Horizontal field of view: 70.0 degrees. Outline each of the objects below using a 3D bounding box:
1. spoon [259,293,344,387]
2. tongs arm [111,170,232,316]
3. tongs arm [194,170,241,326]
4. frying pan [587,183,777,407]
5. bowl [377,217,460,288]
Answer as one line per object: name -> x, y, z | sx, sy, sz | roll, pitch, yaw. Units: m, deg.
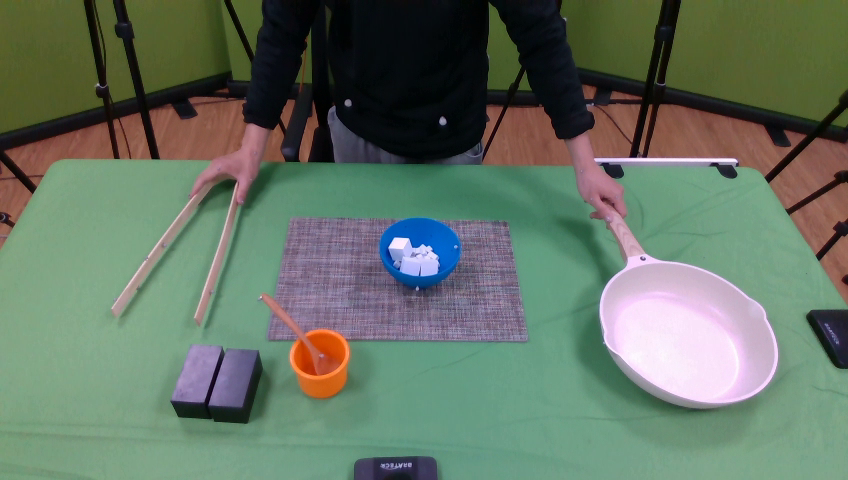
spoon -> -0.191, 0.155, 0.947 | 0.021, 0.194, 0.041 | -12, 28, 51
tongs arm -> -0.467, -0.008, 1.154 | 0.051, 0.026, 0.383 | 8, 46, 8
tongs arm -> -0.389, 0.000, 1.150 | 0.028, 0.028, 0.385 | -4, 46, 1
frying pan -> 0.412, 0.079, 1.096 | 0.307, 0.103, 0.484 | -9, 56, -14
bowl -> -0.011, 0.036, 1.118 | 0.151, 0.077, 0.150 | 2, 46, -2
